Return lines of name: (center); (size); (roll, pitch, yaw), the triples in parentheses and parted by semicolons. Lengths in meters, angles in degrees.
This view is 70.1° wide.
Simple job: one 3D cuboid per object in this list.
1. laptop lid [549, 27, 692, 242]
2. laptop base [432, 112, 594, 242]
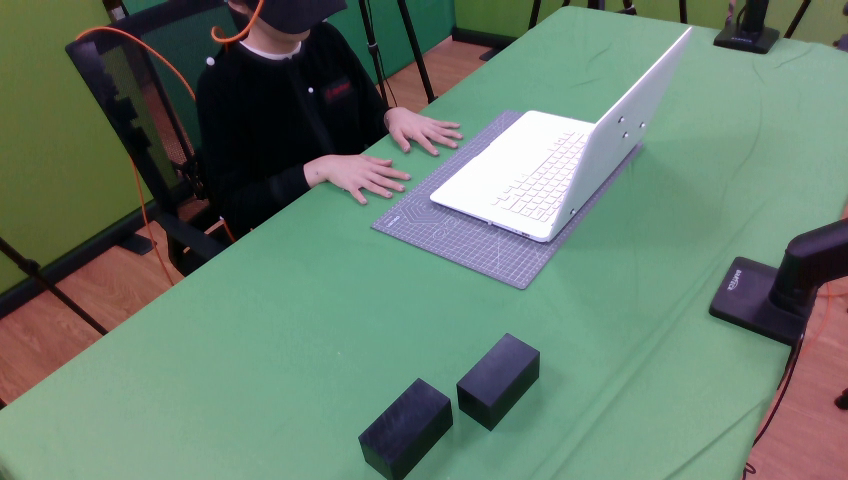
laptop lid: (0.311, -0.167, 0.948); (0.013, 0.242, 0.358); (33, 52, 20)
laptop base: (0.208, -0.129, 1.098); (0.233, 0.023, 0.355); (20, 47, 34)
